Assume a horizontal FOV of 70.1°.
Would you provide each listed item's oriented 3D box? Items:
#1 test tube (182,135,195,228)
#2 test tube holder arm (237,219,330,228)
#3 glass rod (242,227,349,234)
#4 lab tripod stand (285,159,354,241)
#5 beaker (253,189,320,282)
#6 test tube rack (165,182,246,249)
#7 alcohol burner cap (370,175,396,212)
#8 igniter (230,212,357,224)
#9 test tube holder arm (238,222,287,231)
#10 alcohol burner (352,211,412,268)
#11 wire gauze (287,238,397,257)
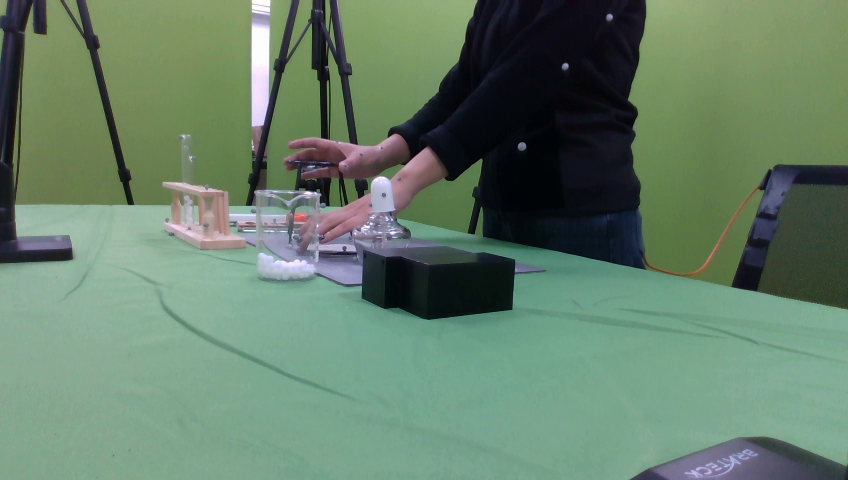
[{"bbox_3d":[-0.382,-0.095,0.983,0.017,0.150,0.017,-1,2,0],"label":"test tube"},{"bbox_3d":[-0.261,-0.031,1.142,0.179,0.015,0.013,-5,49,-34],"label":"test tube holder arm"},{"bbox_3d":[-0.232,-0.016,1.110,0.201,0.008,0.008,2,6,-30],"label":"glass rod"},{"bbox_3d":[-0.187,-0.068,1.013,0.148,0.131,0.148,4,9,0],"label":"lab tripod stand"},{"bbox_3d":[-0.156,-0.005,0.689,0.074,0.100,0.083,0,8,-14],"label":"beaker"},{"bbox_3d":[-0.360,-0.044,0.982,0.067,0.085,0.241,-3,9,-34],"label":"test tube rack"},{"bbox_3d":[-0.055,-0.059,0.778,0.034,0.048,0.034,-7,10,2],"label":"alcohol burner cap"},{"bbox_3d":[-0.271,-0.044,1.231,0.278,0.025,0.057,-2,-2,-28],"label":"igniter"},{"bbox_3d":[-0.297,-0.024,1.114,0.088,0.015,0.010,-3,48,-33],"label":"test tube holder arm"},{"bbox_3d":[-0.055,-0.024,0.783,0.078,0.119,0.078,1,9,0],"label":"alcohol burner"},{"bbox_3d":[-0.125,0.012,0.901,0.126,0.011,0.121,-1,9,-39],"label":"wire gauze"}]
